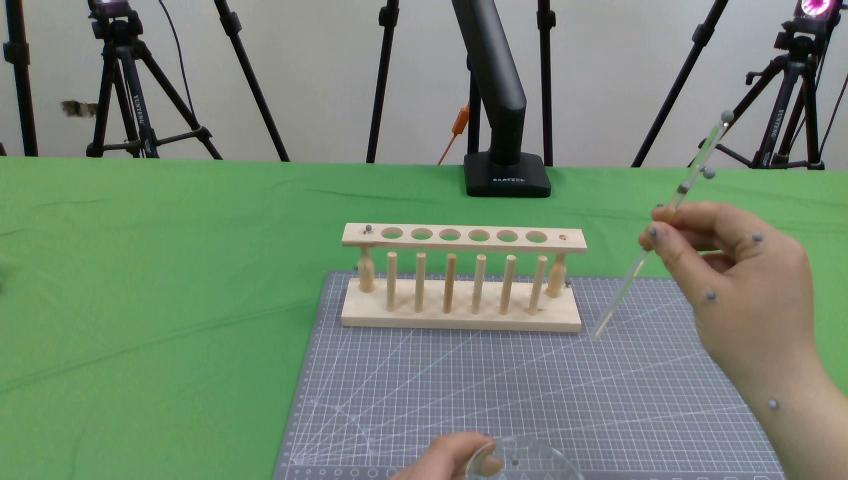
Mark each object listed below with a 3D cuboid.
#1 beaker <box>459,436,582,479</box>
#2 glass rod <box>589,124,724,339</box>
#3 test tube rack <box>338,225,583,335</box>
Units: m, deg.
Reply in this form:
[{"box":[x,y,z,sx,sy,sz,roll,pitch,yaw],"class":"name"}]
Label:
[{"box":[0.051,0.186,0.380,0.084,0.101,0.073,-5,33,-17],"class":"beaker"},{"box":[0.144,0.007,0.394,0.008,0.201,0.008,6,46,-6],"class":"glass rod"},{"box":[0.035,0.041,0.618,0.242,0.086,0.066,2,34,0],"class":"test tube rack"}]
